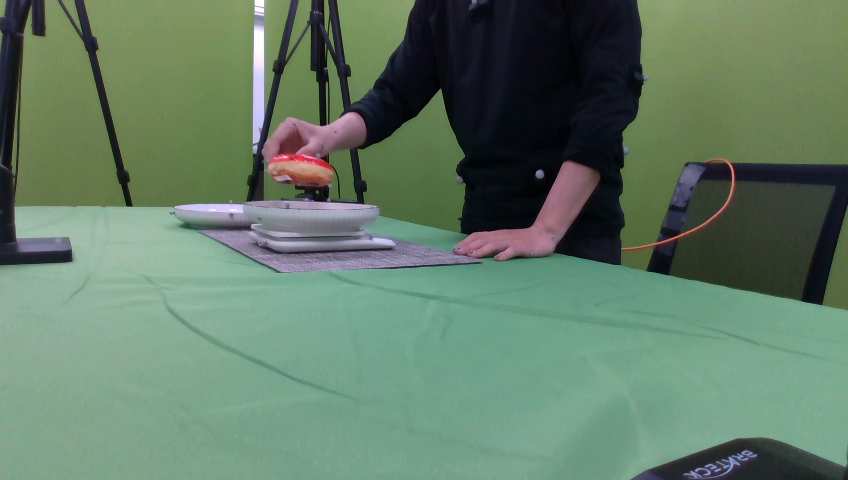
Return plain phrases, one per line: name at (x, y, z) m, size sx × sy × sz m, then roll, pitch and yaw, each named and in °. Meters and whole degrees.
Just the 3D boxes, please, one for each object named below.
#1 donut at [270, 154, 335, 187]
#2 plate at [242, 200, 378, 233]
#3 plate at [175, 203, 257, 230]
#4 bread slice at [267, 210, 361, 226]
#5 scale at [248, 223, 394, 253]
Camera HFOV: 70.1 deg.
donut at (-0.188, -0.105, 0.936) m, size 0.099 × 0.048 × 0.099 m, roll 5°, pitch -2°, yaw 0°
plate at (-0.175, -0.038, 0.939) m, size 0.209 × 0.038 × 0.209 m, roll 3°, pitch 7°, yaw 0°
plate at (-0.381, -0.047, 1.199) m, size 0.208 × 0.039 × 0.207 m, roll 3°, pitch 7°, yaw 0°
bread slice at (-0.174, -0.035, 0.934) m, size 0.132 × 0.019 × 0.104 m, roll -1°, pitch 6°, yaw -28°
scale at (-0.162, -0.006, 0.954) m, size 0.202 × 0.031 × 0.148 m, roll -2°, pitch 8°, yaw -32°
